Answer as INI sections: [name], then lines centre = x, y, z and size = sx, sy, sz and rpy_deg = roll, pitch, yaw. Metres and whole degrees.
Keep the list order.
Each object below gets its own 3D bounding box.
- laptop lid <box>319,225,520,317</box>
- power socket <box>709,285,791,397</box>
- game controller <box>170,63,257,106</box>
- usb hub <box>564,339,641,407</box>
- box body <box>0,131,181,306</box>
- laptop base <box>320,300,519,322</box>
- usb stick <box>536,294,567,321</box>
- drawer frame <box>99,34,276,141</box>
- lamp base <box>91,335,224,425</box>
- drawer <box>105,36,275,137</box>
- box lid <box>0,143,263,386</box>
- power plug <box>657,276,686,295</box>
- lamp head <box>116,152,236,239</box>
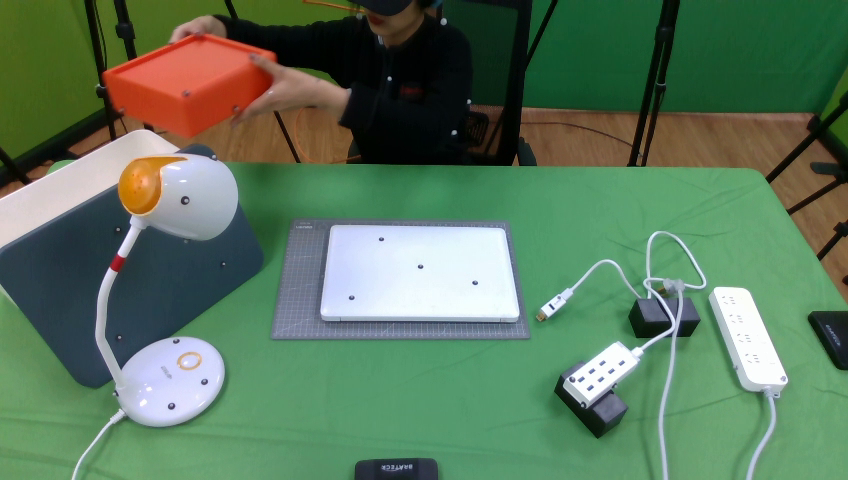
[laptop lid]
centre = -0.008, 0.052, 1.131
size = 0.357, 0.013, 0.240
rpy_deg = 2, 43, -2
[power socket]
centre = 0.567, 0.168, 1.064
size = 0.072, 0.033, 0.225
rpy_deg = 2, 46, 0
[game controller]
centre = -0.389, -0.291, 1.113
size = 0.154, 0.051, 0.097
rpy_deg = 21, 16, 21
[usb hub]
centre = 0.278, 0.205, 0.944
size = 0.125, 0.025, 0.049
rpy_deg = -27, 52, -28
[box body]
centre = -0.551, -0.007, 1.068
size = 0.253, 0.161, 0.363
rpy_deg = 30, 51, 23
[laptop base]
centre = -0.009, 0.062, 1.138
size = 0.354, 0.023, 0.234
rpy_deg = 1, 42, -3
[usb stick]
centre = 0.226, 0.123, 1.083
size = 0.059, 0.027, 0.021
rpy_deg = -37, 77, -8
[drawer frame]
centre = -0.411, -0.276, 1.073
size = 0.201, 0.083, 0.213
rpy_deg = 22, 46, 24
[lamp base]
centre = -0.401, 0.171, 0.892
size = 0.160, 0.181, 0.179
rpy_deg = 30, 53, 23
[drawer]
centre = -0.409, -0.277, 1.077
size = 0.194, 0.073, 0.211
rpy_deg = 22, 46, 24
[box lid]
centre = -0.444, 0.032, 0.979
size = 0.015, 0.264, 0.371
rpy_deg = 13, 42, 41
[power plug]
centre = 0.450, 0.087, 1.113
size = 0.073, 0.052, 0.035
rpy_deg = -13, 72, -55
[lamp head]
centre = -0.315, -0.057, 0.747
size = 0.112, 0.112, 0.123
rpy_deg = 26, 10, 20
